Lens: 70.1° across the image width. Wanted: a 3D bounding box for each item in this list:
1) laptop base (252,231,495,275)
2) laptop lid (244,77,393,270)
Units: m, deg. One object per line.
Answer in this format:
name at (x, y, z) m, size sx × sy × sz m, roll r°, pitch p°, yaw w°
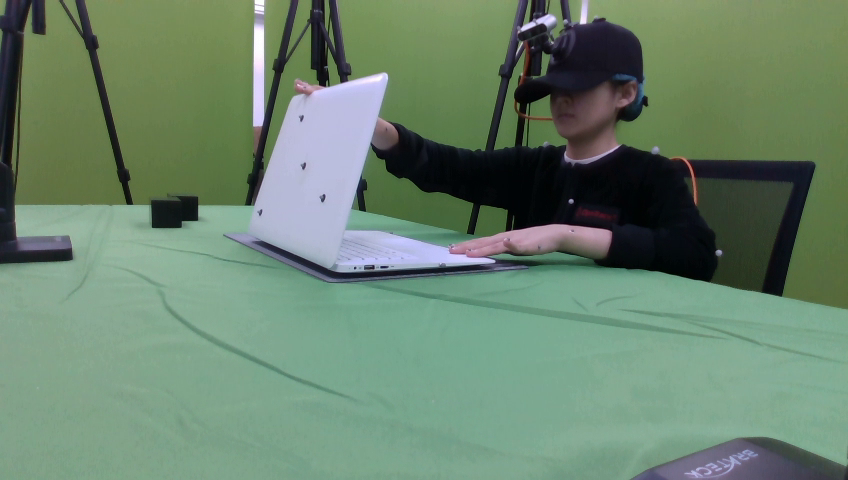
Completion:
laptop base at (-0.093, 0.016, 0.884) m, size 0.237 × 0.023 × 0.352 m, roll 3°, pitch 6°, yaw -32°
laptop lid at (-0.161, -0.099, 0.823) m, size 0.013 × 0.241 × 0.355 m, roll 20°, pitch -2°, yaw -32°
